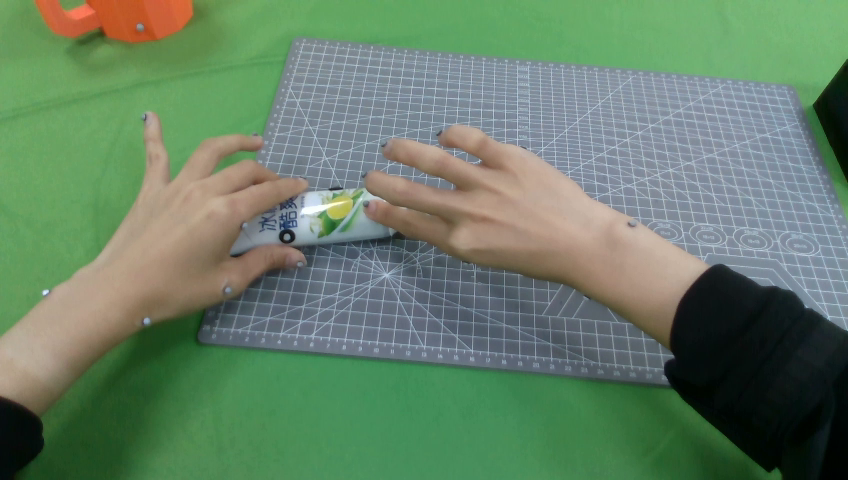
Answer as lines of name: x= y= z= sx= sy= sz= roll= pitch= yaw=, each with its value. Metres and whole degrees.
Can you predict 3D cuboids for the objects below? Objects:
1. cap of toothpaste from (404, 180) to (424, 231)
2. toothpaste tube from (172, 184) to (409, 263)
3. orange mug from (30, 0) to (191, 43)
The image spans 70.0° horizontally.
cap of toothpaste: x=-0.007 y=-0.024 z=0.418 sx=0.011 sy=0.037 sz=0.037 roll=-8 pitch=56 yaw=-7
toothpaste tube: x=-0.087 y=-0.017 z=0.414 sx=0.165 sy=0.035 sz=0.054 roll=-6 pitch=54 yaw=-4
orange mug: x=-0.267 y=-0.225 z=0.504 sx=0.126 sy=0.101 sz=0.083 roll=-36 pitch=65 yaw=-30
